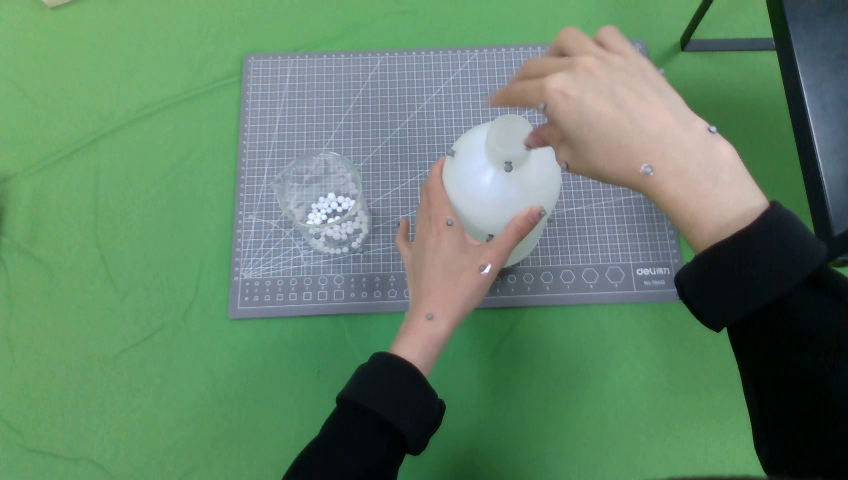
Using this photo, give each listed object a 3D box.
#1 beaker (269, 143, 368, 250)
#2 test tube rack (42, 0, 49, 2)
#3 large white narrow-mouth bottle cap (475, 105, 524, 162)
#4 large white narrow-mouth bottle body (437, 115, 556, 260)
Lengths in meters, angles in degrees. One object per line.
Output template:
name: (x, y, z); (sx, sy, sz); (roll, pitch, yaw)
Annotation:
beaker: (-0.095, -0.036, 0.573); (0.084, 0.101, 0.073); (9, 72, 4)
test tube rack: (-0.343, -0.362, 0.682); (0.242, 0.085, 0.066); (-23, 74, -6)
large white narrow-mouth bottle cap: (0.056, -0.077, 0.445); (0.038, 0.024, 0.037); (-1, 74, 3)
large white narrow-mouth bottle body: (0.062, -0.052, 0.528); (0.102, 0.196, 0.101); (-1, 73, 3)
